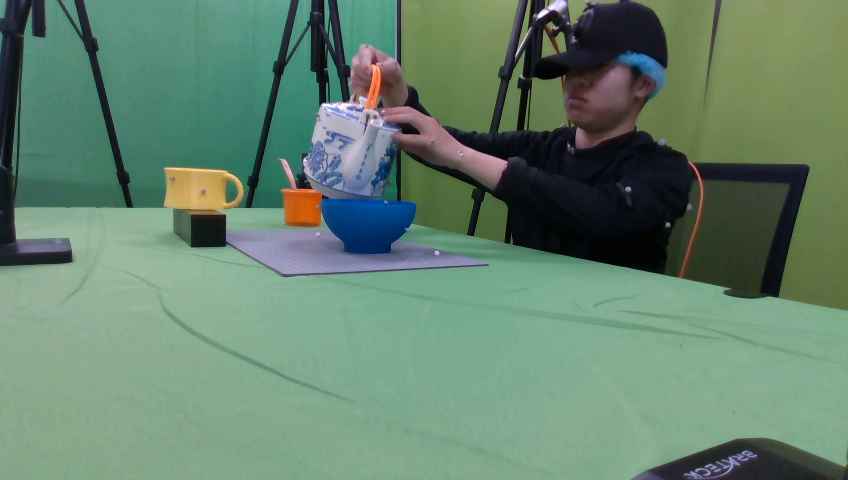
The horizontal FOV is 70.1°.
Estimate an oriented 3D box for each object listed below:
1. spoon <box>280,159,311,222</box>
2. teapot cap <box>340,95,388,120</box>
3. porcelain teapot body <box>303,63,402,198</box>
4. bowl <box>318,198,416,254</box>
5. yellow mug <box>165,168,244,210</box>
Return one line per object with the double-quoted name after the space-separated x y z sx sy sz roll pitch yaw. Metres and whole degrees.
-0.285 -0.111 1.320 0.042 0.193 0.021 -3 -35 -31 "spoon"
-0.100 -0.220 1.022 0.085 0.044 0.085 17 17 -5 "teapot cap"
-0.105 -0.175 1.009 0.146 0.225 0.204 12 17 -23 "porcelain teapot body"
-0.089 -0.022 0.940 0.151 0.077 0.151 2 8 0 "bowl"
-0.370 -0.086 1.027 0.131 0.064 0.100 5 7 4 "yellow mug"
